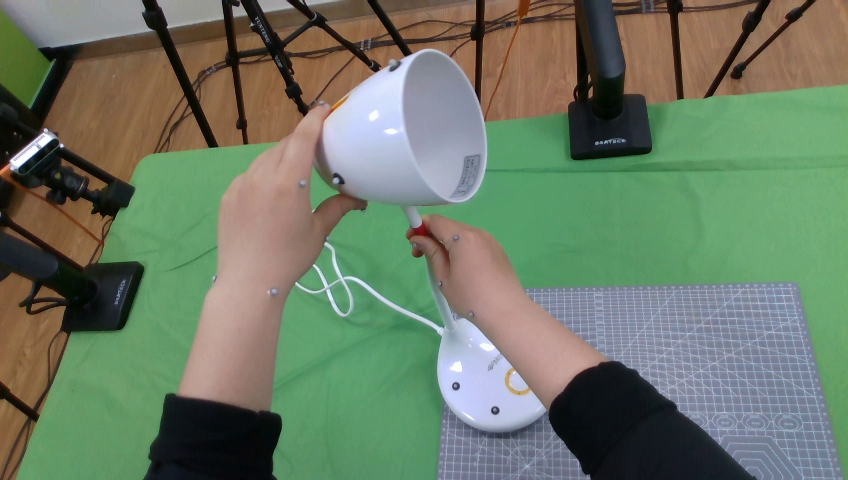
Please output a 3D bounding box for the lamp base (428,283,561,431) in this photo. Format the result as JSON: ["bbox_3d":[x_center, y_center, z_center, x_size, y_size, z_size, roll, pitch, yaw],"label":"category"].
[{"bbox_3d":[0.067,0.123,0.727,0.178,0.182,0.160,22,66,29],"label":"lamp base"}]

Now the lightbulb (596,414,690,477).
[{"bbox_3d":[0.248,0.229,0.694,0.107,0.060,0.059,16,64,41],"label":"lightbulb"}]

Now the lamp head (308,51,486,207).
[{"bbox_3d":[-0.026,-0.073,0.471,0.122,0.113,0.111,-11,53,40],"label":"lamp head"}]
